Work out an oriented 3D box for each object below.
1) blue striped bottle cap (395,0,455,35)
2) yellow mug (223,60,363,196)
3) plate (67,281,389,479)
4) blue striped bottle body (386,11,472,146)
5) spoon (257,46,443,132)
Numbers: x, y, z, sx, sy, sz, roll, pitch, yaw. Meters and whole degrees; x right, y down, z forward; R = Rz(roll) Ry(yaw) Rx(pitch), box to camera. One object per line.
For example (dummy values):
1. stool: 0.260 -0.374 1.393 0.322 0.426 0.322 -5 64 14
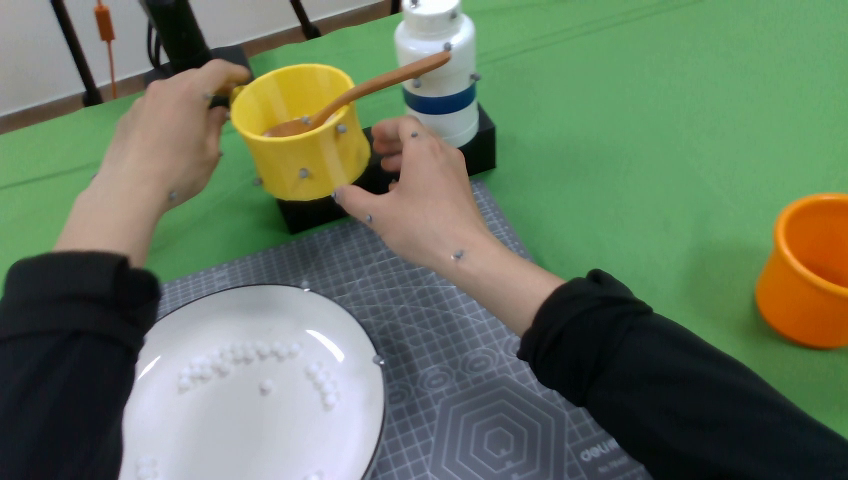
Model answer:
1. blue striped bottle cap: 0.001 -0.174 0.453 0.044 0.021 0.044 -5 51 7
2. yellow mug: -0.119 -0.099 0.509 0.130 0.064 0.099 20 55 24
3. plate: -0.125 0.121 0.408 0.207 0.039 0.205 -3 50 4
4. blue striped bottle body: 0.005 -0.141 0.492 0.063 0.122 0.062 -4 50 5
5. spoon: -0.066 -0.109 0.468 0.193 0.022 0.041 -18 36 37
